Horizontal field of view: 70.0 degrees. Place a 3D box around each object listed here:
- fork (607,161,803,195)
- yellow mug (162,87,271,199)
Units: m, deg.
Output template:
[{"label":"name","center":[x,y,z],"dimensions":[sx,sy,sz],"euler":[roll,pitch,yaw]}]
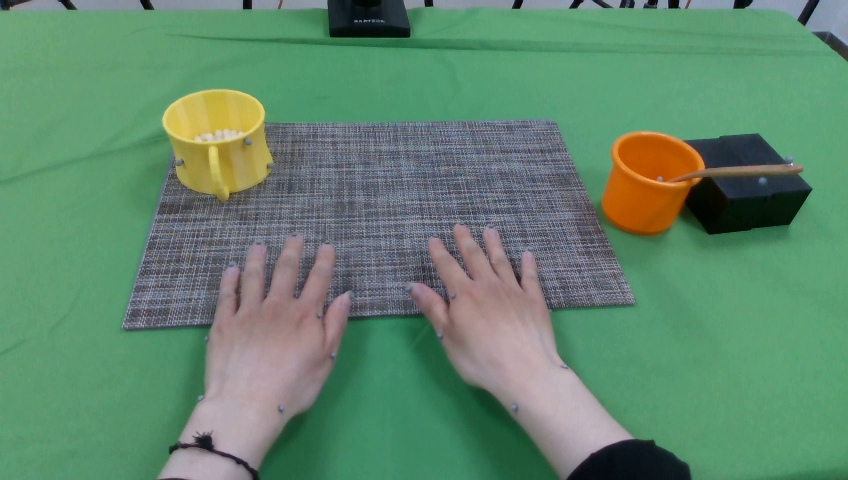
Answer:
[{"label":"fork","center":[0.256,-0.060,0.579],"dimensions":[0.028,0.019,0.206],"euler":[-26,9,-26]},{"label":"yellow mug","center":[-0.212,-0.097,0.628],"dimensions":[0.100,0.064,0.129],"euler":[-7,47,-12]}]
